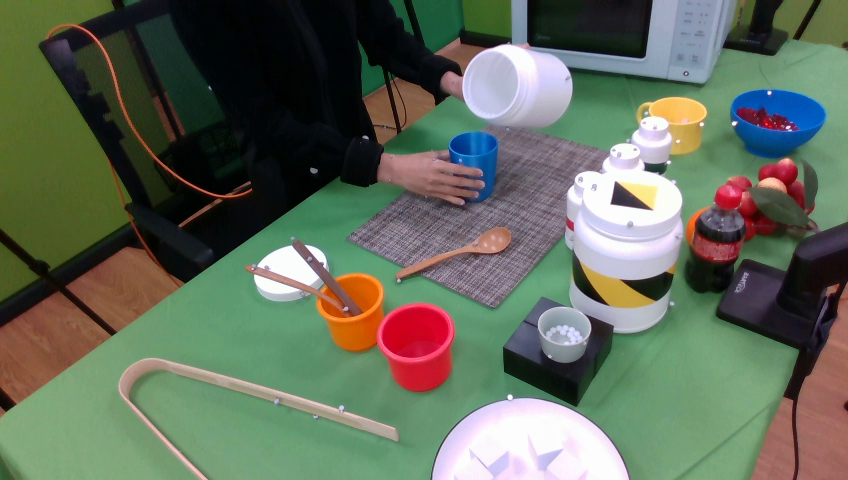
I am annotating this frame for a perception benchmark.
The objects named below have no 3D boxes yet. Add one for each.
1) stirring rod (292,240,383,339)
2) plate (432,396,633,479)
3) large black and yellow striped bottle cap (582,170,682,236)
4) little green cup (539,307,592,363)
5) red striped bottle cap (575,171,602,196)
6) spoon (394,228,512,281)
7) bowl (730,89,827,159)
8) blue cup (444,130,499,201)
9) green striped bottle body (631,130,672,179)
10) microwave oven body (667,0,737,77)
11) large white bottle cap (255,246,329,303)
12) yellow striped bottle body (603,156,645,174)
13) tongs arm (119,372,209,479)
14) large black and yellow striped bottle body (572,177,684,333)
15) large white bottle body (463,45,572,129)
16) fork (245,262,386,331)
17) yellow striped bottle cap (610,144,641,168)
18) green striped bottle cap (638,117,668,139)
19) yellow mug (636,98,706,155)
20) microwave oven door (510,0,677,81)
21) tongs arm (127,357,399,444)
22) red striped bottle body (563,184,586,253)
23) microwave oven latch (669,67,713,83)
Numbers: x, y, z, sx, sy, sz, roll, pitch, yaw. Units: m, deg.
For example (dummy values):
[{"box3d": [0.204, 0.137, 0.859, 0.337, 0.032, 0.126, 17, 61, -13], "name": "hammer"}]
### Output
[{"box3d": [-0.118, 0.068, 0.825, 0.176, 0.006, 0.014, 49, 59, -3], "name": "stirring rod"}, {"box3d": [0.112, 0.261, 0.634, 0.209, 0.038, 0.208, -5, 40, 4], "name": "plate"}, {"box3d": [0.252, -0.048, 0.735, 0.115, 0.019, 0.114, -3, 40, 3], "name": "large black and yellow striped bottle cap"}, {"box3d": [0.168, 0.114, 0.721, 0.061, 0.039, 0.061, -5, 43, 5], "name": "little green cup"}, {"box3d": [0.242, -0.081, 0.876, 0.044, 0.018, 0.044, -5, 43, 5], "name": "red striped bottle cap"}, {"box3d": [0.045, 0.024, 0.935, 0.194, 0.022, 0.041, -18, 66, -11], "name": "spoon"}, {"box3d": [0.615, -0.197, 1.069, 0.151, 0.077, 0.150, -5, 40, 5], "name": "bowl"}, {"box3d": [0.086, -0.124, 1.041, 0.092, 0.100, 0.092, -3, 40, 3], "name": "blue cup"}, {"box3d": [0.375, -0.140, 1.007, 0.063, 0.120, 0.063, -5, 41, 5], "name": "green striped bottle body"}, {"box3d": [0.462, -0.552, 1.369, 0.439, 0.261, 0.326, 15, 45, 26], "name": "microwave oven body"}, {"box3d": [-0.208, 0.052, 0.952, 0.115, 0.018, 0.114, -4, 41, 4], "name": "large white bottle cap"}, {"box3d": [0.313, -0.089, 0.956, 0.063, 0.121, 0.062, -4, 39, 4], "name": "yellow striped bottle body"}, {"box3d": [-0.258, 0.257, 0.700, 0.384, 0.028, 0.028, 24, 55, 34], "name": "tongs arm"}, {"box3d": [0.262, 0.017, 0.788, 0.131, 0.185, 0.130, -5, 40, 4], "name": "large black and yellow striped bottle body"}, {"box3d": [0.160, -0.260, 1.036, 0.129, 0.130, 0.186, 23, 18, 32], "name": "large white bottle body"}, {"box3d": [-0.141, 0.076, 0.807, 0.209, 0.018, 0.028, 29, 51, -24], "name": "fork"}, {"box3d": [0.307, -0.128, 0.923, 0.044, 0.019, 0.044, -5, 39, 5], "name": "yellow striped bottle cap"}, {"box3d": [0.369, -0.180, 0.974, 0.044, 0.020, 0.044, -4, 41, 4], "name": "green striped bottle cap"}, {"box3d": [0.453, -0.218, 1.129, 0.100, 0.064, 0.129, -35, 46, -26], "name": "yellow mug"}, {"box3d": [0.354, -0.478, 1.291, 0.353, 0.245, 0.039, 15, 45, 25], "name": "microwave oven door"}, {"box3d": [-0.213, 0.205, 0.755, 0.382, 0.026, 0.051, 12, 46, 23], "name": "tongs arm"}, {"box3d": [0.247, -0.041, 0.910, 0.063, 0.120, 0.062, -1, 38, 1], "name": "red striped bottle body"}, {"box3d": [0.556, -0.348, 1.261, 0.078, 0.029, 0.030, 16, 46, 27], "name": "microwave oven latch"}]
